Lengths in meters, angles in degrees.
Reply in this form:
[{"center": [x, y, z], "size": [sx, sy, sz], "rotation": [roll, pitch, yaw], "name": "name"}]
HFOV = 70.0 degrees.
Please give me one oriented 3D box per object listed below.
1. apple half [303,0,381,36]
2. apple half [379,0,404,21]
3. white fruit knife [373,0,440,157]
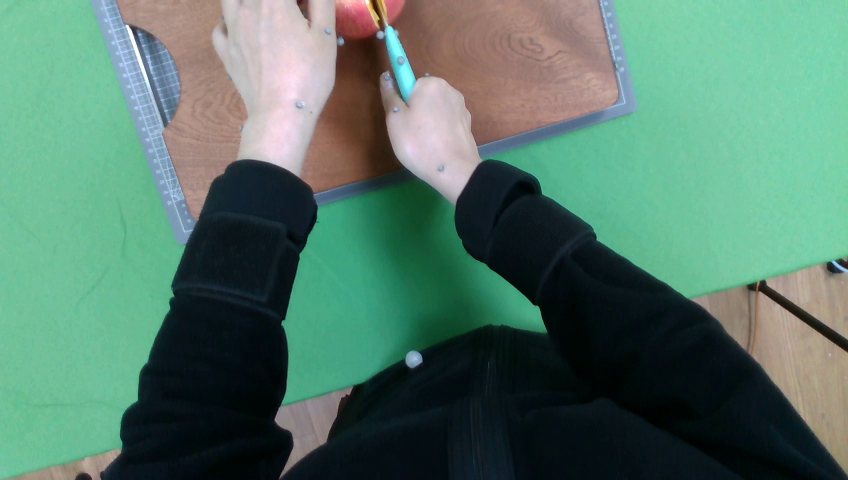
[{"center": [-0.071, -0.201, 0.486], "size": [0.053, 0.074, 0.081], "rotation": [-18, 100, 9], "name": "apple half"}, {"center": [-0.030, -0.216, 0.486], "size": [0.033, 0.081, 0.081], "rotation": [-21, 98, -4], "name": "apple half"}, {"center": [-0.029, -0.166, 0.495], "size": [0.016, 0.027, 0.208], "rotation": [-23, 101, -8], "name": "white fruit knife"}]
